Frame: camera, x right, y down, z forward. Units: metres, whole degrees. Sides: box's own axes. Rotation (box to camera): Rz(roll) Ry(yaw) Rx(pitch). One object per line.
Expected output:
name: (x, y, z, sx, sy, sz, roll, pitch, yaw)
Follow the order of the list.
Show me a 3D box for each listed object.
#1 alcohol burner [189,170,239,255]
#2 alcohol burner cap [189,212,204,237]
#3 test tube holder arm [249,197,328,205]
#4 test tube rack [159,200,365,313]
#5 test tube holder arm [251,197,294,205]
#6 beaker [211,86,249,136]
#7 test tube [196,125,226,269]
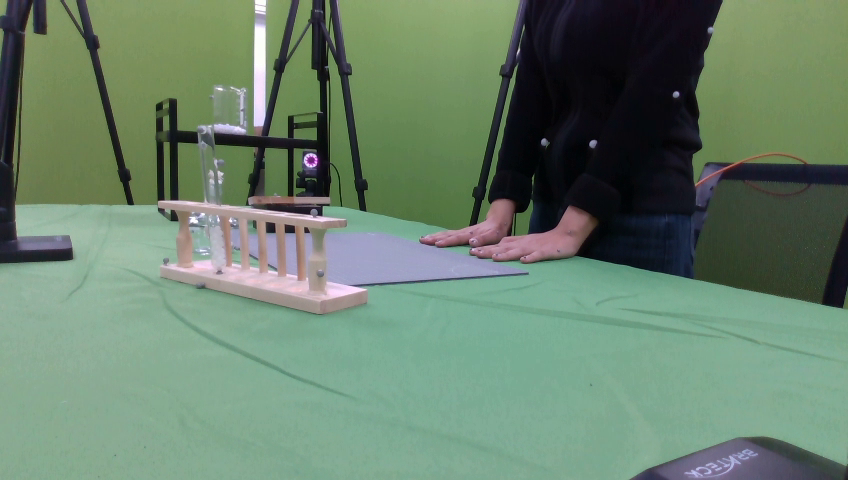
alcohol burner: (-0.298, -0.039, 0.853, 0.078, 0.119, 0.078, 3, 6, 0)
alcohol burner cap: (-0.389, -0.029, 1.026, 0.034, 0.048, 0.034, 3, 8, 0)
test tube holder arm: (-0.253, -0.075, 1.147, 0.013, 0.015, 0.179, 6, 7, 38)
test tube rack: (-0.173, 0.009, 0.624, 0.241, 0.085, 0.067, 7, 9, 34)
test tube holder arm: (-0.277, -0.072, 1.108, 0.010, 0.015, 0.088, 6, 7, 39)
beaker: (-0.413, -0.274, 1.297, 0.074, 0.100, 0.083, -5, 11, -44)
test tube: (-0.220, -0.043, 0.627, 0.017, 0.150, 0.017, -2, 10, 1)
